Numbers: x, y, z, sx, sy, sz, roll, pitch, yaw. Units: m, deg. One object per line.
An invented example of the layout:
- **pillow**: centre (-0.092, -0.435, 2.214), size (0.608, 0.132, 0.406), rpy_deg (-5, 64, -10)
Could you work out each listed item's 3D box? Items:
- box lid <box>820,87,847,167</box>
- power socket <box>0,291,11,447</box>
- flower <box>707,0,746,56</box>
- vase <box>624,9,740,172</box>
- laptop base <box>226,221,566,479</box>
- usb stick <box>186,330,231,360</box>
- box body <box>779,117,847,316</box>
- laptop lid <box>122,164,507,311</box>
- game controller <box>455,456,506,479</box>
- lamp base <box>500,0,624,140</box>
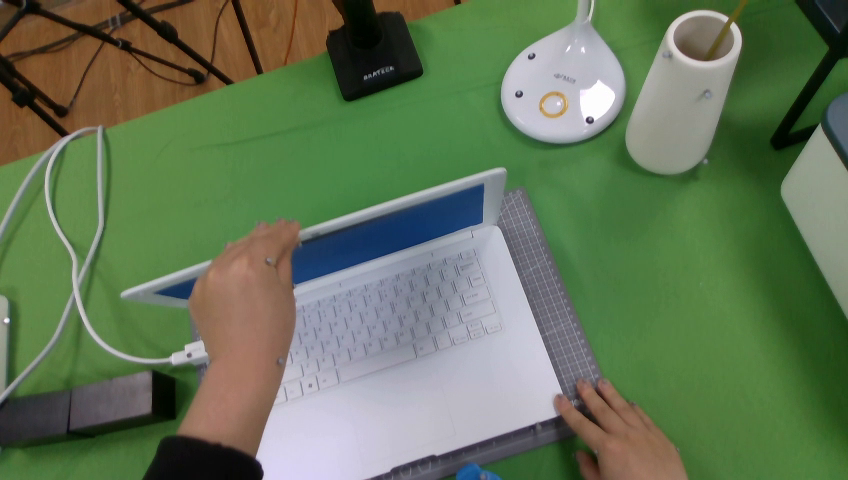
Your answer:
- **box lid**: centre (0.539, -0.013, 0.506), size (0.263, 0.015, 0.368), rpy_deg (-16, 66, 1)
- **power socket**: centre (-0.564, 0.164, 0.760), size (0.072, 0.033, 0.224), rpy_deg (-16, 66, 1)
- **flower**: centre (0.287, -0.195, 0.592), size (0.038, 0.364, 0.043), rpy_deg (-3, 57, -10)
- **vase**: centre (0.280, -0.158, 0.667), size (0.098, 0.202, 0.097), rpy_deg (-4, 66, 9)
- **laptop base**: centre (-0.043, 0.133, 0.699), size (0.354, 0.023, 0.233), rpy_deg (-18, 70, 1)
- **usb stick**: centre (-0.249, 0.123, 0.720), size (0.059, 0.027, 0.021), rpy_deg (-14, 66, -3)
- **box body**: centre (0.551, 0.018, 0.574), size (0.254, 0.162, 0.361), rpy_deg (-17, 66, 2)
- **laptop lid**: centre (-0.087, 0.009, 0.626), size (0.357, 0.242, 0.013), rpy_deg (-19, 80, 3)
- **game controller**: centre (0.026, 0.290, 0.610), size (0.155, 0.052, 0.096), rpy_deg (-32, 62, -5)
- **lamp base**: centre (0.172, -0.242, 0.730), size (0.160, 0.182, 0.178), rpy_deg (13, 68, 14)
